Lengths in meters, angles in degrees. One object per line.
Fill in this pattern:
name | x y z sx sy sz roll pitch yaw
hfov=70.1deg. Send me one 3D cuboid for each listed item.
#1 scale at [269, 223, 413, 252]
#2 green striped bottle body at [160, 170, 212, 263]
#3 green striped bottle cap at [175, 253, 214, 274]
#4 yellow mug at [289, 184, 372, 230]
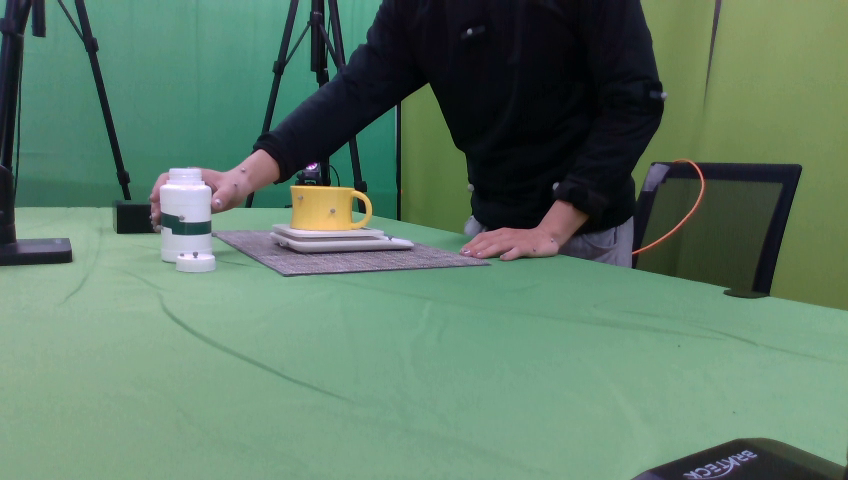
scale | -0.132 -0.007 0.965 0.202 0.031 0.148 -1 8 -31
green striped bottle body | -0.313 -0.033 0.796 0.063 0.119 0.063 2 8 0
green striped bottle cap | -0.280 0.029 0.740 0.044 0.020 0.044 7 4 0
yellow mug | -0.145 -0.052 0.943 0.131 0.064 0.100 4 7 9
